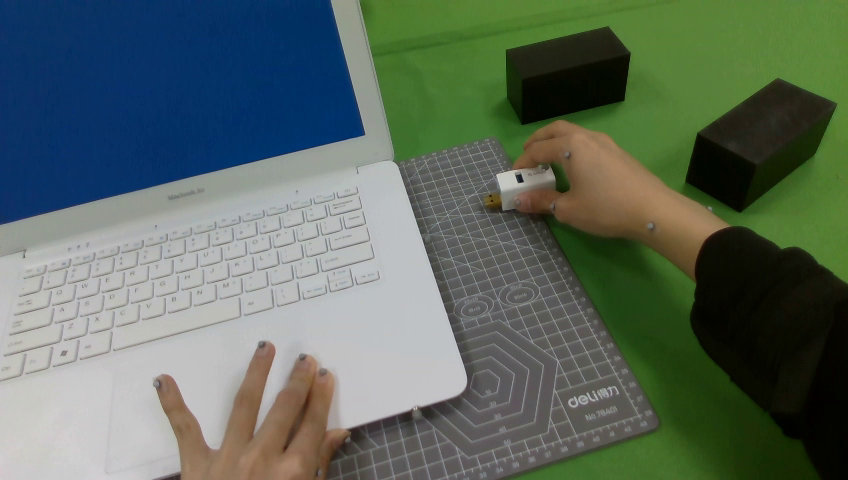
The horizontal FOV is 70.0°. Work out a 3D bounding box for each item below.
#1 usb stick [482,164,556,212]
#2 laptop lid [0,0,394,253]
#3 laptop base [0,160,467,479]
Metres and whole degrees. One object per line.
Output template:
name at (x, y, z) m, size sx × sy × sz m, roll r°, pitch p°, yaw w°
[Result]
usb stick at (0.074, -0.040, 0.485) m, size 0.059 × 0.027 × 0.021 m, roll -15°, pitch 47°, yaw 5°
laptop lid at (-0.215, -0.119, 0.457) m, size 0.357 × 0.244 × 0.013 m, roll -16°, pitch 33°, yaw -4°
laptop base at (-0.166, 0.061, 0.444) m, size 0.354 × 0.023 × 0.233 m, roll -15°, pitch 51°, yaw -5°
